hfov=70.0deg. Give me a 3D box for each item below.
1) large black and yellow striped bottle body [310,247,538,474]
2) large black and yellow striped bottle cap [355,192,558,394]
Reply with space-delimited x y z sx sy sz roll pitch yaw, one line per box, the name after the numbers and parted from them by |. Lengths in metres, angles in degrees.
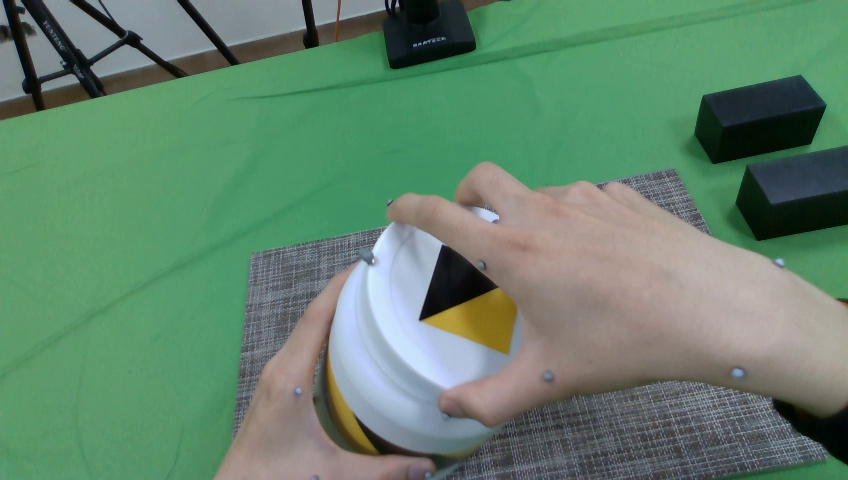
-0.002 0.071 0.403 0.131 0.185 0.129 8 57 -12 | large black and yellow striped bottle body
0.020 0.026 0.331 0.115 0.019 0.114 9 61 -17 | large black and yellow striped bottle cap
